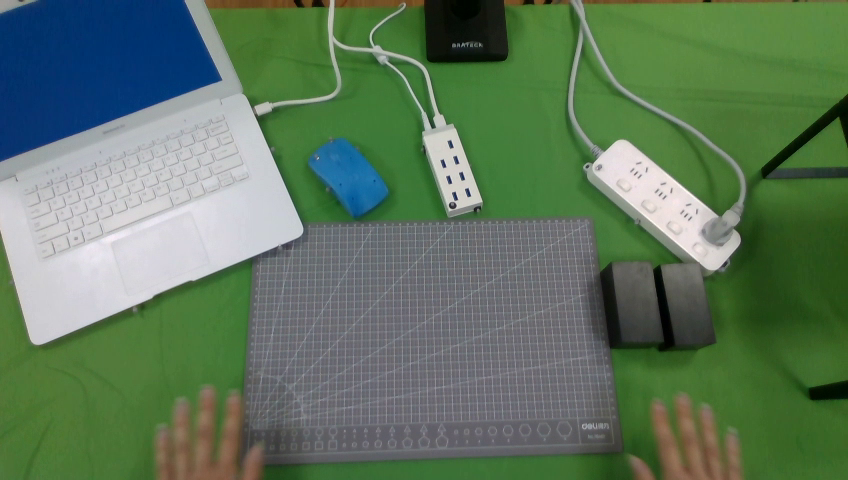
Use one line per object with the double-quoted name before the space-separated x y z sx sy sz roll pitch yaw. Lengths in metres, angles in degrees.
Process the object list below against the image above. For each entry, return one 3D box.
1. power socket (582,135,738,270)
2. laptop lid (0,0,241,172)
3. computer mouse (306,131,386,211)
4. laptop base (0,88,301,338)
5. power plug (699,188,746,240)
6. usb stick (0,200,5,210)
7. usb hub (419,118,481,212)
"power socket" 0.314 -0.052 0.808 0.072 0.033 0.225 -43 77 -14
"laptop lid" -0.425 -0.212 0.728 0.357 0.244 0.013 -24 58 -8
"computer mouse" -0.106 -0.095 0.808 0.063 0.041 0.116 -37 72 -11
"laptop base" -0.364 -0.046 0.795 0.354 0.023 0.234 -23 76 -9
"power plug" 0.388 -0.027 0.782 0.072 0.053 0.035 -31 74 -13
"usb stick" -0.570 -0.038 0.772 0.059 0.027 0.021 -23 77 -14
"usb hub" 0.033 -0.103 0.821 0.049 0.025 0.124 -16 72 -6
